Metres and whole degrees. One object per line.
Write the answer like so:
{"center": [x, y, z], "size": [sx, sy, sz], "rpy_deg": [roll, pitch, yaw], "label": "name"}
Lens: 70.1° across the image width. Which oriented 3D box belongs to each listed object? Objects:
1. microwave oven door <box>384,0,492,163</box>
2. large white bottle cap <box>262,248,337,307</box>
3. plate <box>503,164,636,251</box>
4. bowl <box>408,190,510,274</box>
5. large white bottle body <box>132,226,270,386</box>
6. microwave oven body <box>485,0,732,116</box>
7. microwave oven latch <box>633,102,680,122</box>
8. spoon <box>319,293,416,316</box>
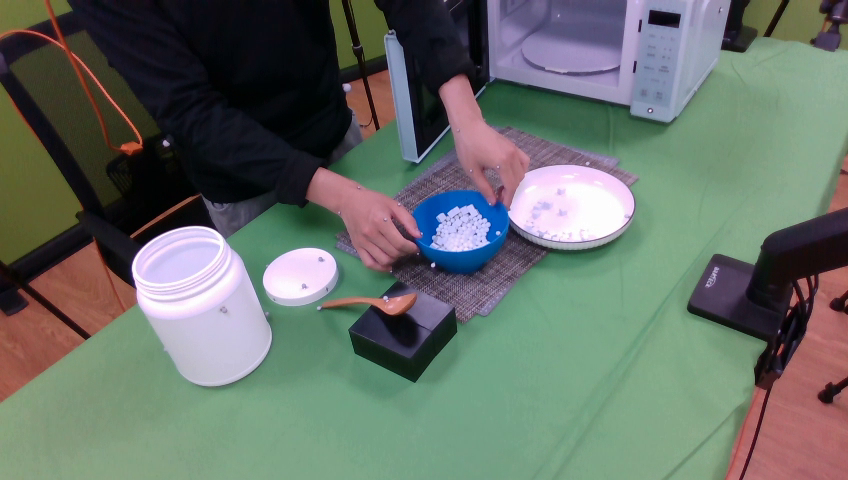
{"center": [0.042, -0.347, 1.173], "size": [0.039, 0.245, 0.356], "rpy_deg": [15, 45, 24], "label": "microwave oven door"}
{"center": [-0.193, 0.056, 0.934], "size": [0.115, 0.018, 0.114], "rpy_deg": [-5, 42, 5], "label": "large white bottle cap"}
{"center": [0.232, -0.050, 0.976], "size": [0.209, 0.038, 0.208], "rpy_deg": [-3, 41, 3], "label": "plate"}
{"center": [0.055, -0.002, 0.914], "size": [0.151, 0.077, 0.150], "rpy_deg": [-4, 40, 4], "label": "bowl"}
{"center": [-0.286, 0.085, 0.783], "size": [0.130, 0.185, 0.130], "rpy_deg": [-4, 41, 4], "label": "large white bottle body"}
{"center": [0.377, -0.462, 1.267], "size": [0.438, 0.261, 0.327], "rpy_deg": [21, 49, 30], "label": "microwave oven body"}
{"center": [0.444, -0.249, 1.157], "size": [0.078, 0.029, 0.030], "rpy_deg": [21, 49, 30], "label": "microwave oven latch"}
{"center": [-0.082, 0.086, 0.826], "size": [0.192, 0.022, 0.041], "rpy_deg": [-3, 37, 41], "label": "spoon"}
